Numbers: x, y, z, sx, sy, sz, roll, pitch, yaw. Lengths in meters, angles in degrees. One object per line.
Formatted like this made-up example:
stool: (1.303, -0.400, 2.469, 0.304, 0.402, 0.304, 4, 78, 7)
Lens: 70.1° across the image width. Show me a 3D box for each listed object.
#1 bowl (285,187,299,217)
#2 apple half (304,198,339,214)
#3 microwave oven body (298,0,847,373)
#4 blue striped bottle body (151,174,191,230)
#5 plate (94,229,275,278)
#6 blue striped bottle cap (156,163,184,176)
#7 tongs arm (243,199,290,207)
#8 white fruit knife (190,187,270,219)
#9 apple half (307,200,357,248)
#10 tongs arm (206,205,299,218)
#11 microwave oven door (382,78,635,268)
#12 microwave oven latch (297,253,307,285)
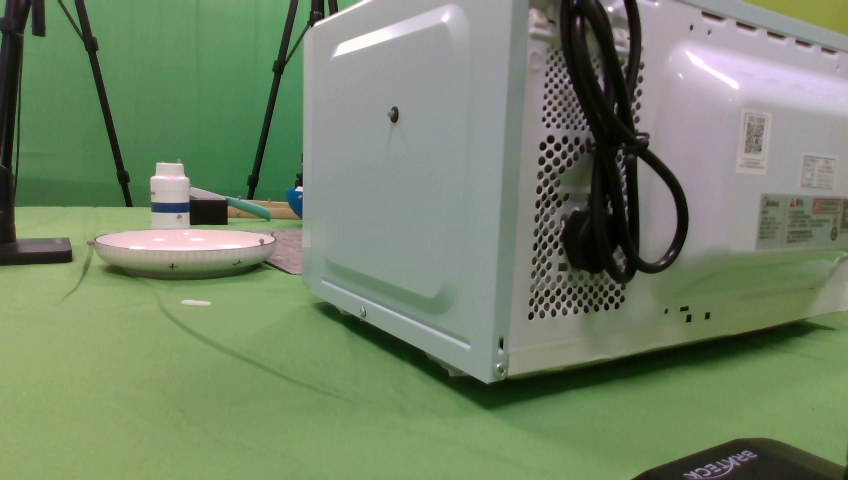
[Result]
bowl: (-0.217, -0.069, 1.274, 0.151, 0.077, 0.151, 2, 8, 0)
apple half: (-0.217, -0.073, 1.274, 0.081, 0.033, 0.081, 2, 9, 0)
microwave oven body: (0.151, -0.055, 0.543, 0.444, 0.260, 0.324, -1, 7, -33)
blue striped bottle body: (-0.439, -0.071, 1.052, 0.063, 0.120, 0.063, 2, 7, 0)
plate: (-0.291, 0.016, 0.749, 0.208, 0.039, 0.207, 2, 7, 0)
blue striped bottle cap: (-0.438, -0.122, 1.045, 0.044, 0.020, 0.044, 5, 6, 0)
tongs arm: (-0.309, -0.078, 1.487, 0.385, 0.026, 0.050, 3, 7, -2)
white fruit knife: (-0.413, -0.081, 1.270, 0.208, 0.027, 0.016, 17, 13, -41)
apple half: (-0.136, -0.024, 0.942, 0.053, 0.074, 0.081, 15, 10, 38)
tongs arm: (-0.302, -0.065, 1.407, 0.389, 0.028, 0.028, 1, 4, -15)
microwave oven door: (0.103, -0.100, 0.852, 0.354, 0.243, 0.039, 6, 8, 26)
microwave oven latch: (-0.082, 0.027, 0.582, 0.079, 0.029, 0.030, -1, 7, -32)
